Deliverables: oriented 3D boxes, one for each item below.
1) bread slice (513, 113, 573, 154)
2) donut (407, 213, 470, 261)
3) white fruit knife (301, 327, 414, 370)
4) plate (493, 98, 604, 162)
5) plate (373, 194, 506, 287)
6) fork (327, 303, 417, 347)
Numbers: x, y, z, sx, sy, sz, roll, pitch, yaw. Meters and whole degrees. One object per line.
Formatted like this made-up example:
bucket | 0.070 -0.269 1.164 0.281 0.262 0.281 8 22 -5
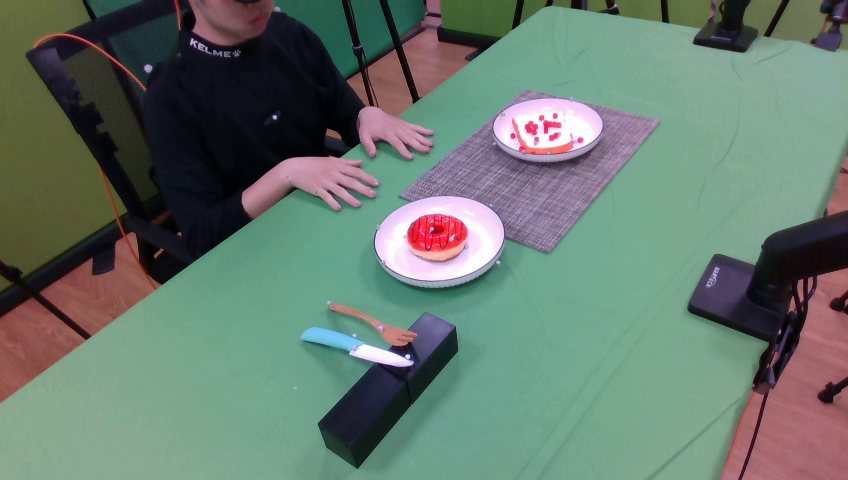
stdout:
bread slice | 0.233 -0.205 1.160 0.105 0.019 0.131 -7 40 1
donut | 0.022 -0.006 0.944 0.099 0.048 0.098 -4 38 3
white fruit knife | -0.088 0.140 0.781 0.205 0.016 0.027 7 42 42
plate | 0.237 -0.206 1.158 0.209 0.038 0.208 -4 40 4
plate | 0.025 0.003 0.952 0.207 0.039 0.206 -4 41 4
fork | -0.077 0.110 0.811 0.028 0.019 0.205 -41 33 -26
